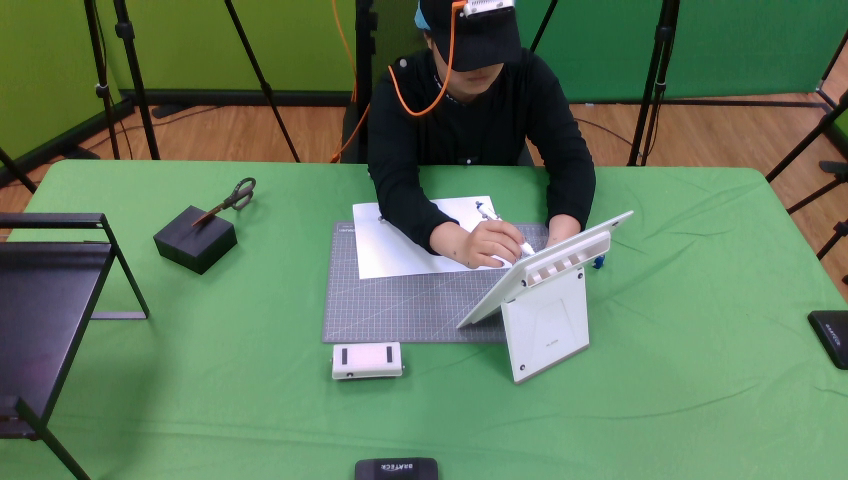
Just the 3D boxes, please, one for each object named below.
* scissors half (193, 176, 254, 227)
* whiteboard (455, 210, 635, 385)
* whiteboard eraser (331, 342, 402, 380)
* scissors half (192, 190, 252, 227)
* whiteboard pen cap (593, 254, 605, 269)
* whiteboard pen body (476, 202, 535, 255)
[{"bbox_3d":[-0.388,-0.075,1.174,0.013,0.040,0.174,29,47,8],"label":"scissors half"},{"bbox_3d":[0.211,0.111,0.955,0.217,0.306,0.143,-20,71,-23],"label":"whiteboard"},{"bbox_3d":[-0.094,0.198,0.986,0.113,0.042,0.055,-2,44,-6],"label":"whiteboard eraser"},{"bbox_3d":[-0.393,-0.060,1.187,0.013,0.040,0.175,25,29,12],"label":"scissors half"},{"bbox_3d":[0.340,0.041,1.179,0.018,0.033,0.018,2,46,-1],"label":"whiteboard pen cap"},{"bbox_3d":[0.138,-0.013,0.985,0.017,0.017,0.140,-35,69,-31],"label":"whiteboard pen body"}]
